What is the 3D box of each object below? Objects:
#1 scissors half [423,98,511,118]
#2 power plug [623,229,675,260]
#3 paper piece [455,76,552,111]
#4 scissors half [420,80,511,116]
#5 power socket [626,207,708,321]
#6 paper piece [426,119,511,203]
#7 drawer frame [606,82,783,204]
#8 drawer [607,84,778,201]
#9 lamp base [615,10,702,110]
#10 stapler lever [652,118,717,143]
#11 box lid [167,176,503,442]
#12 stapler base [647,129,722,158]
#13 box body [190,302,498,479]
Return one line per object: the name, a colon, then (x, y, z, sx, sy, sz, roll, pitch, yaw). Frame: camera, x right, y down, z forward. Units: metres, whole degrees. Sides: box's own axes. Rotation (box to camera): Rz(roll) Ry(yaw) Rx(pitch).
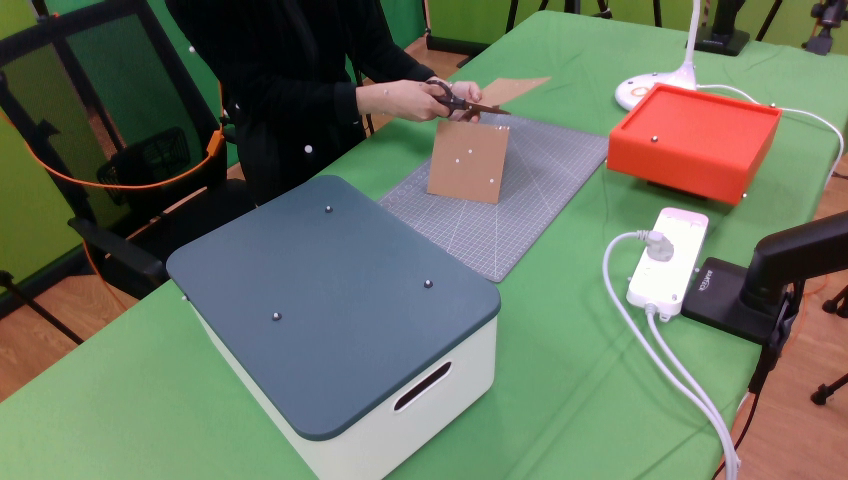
scissors half: (0.073, -0.227, 1.055, 0.174, 0.040, 0.013, 13, 50, 34)
power plug: (0.327, 0.007, 0.878, 0.072, 0.053, 0.035, 25, 51, 33)
paper piece: (0.139, -0.263, 1.086, 0.136, 0.009, 0.137, -32, 24, -29)
scissors half: (0.070, -0.241, 1.040, 0.174, 0.040, 0.013, 24, 60, 19)
power socket: (0.360, 0.026, 0.886, 0.072, 0.033, 0.227, 16, 46, 26)
paper piece: (0.075, -0.140, 1.057, 0.135, 0.135, 0.004, 11, 4, 20)
drawer frame: (0.441, -0.167, 0.995, 0.212, 0.083, 0.202, 23, 48, 30)
drawer: (0.438, -0.167, 0.996, 0.210, 0.073, 0.195, 23, 48, 30)
lamp base: (0.484, -0.364, 1.211, 0.180, 0.181, 0.159, -15, 41, -14)
stapler lever: (0.436, -0.191, 1.014, 0.118, 0.040, 0.026, -16, 25, -16)
box lid: (-0.119, 0.047, 0.714, 0.264, 0.015, 0.368, -32, 47, -27)
stapler base: (0.439, -0.167, 1.024, 0.131, 0.024, 0.041, -16, 25, -15)
box body: (-0.110, 0.103, 0.761, 0.255, 0.161, 0.361, -33, 46, -27)
